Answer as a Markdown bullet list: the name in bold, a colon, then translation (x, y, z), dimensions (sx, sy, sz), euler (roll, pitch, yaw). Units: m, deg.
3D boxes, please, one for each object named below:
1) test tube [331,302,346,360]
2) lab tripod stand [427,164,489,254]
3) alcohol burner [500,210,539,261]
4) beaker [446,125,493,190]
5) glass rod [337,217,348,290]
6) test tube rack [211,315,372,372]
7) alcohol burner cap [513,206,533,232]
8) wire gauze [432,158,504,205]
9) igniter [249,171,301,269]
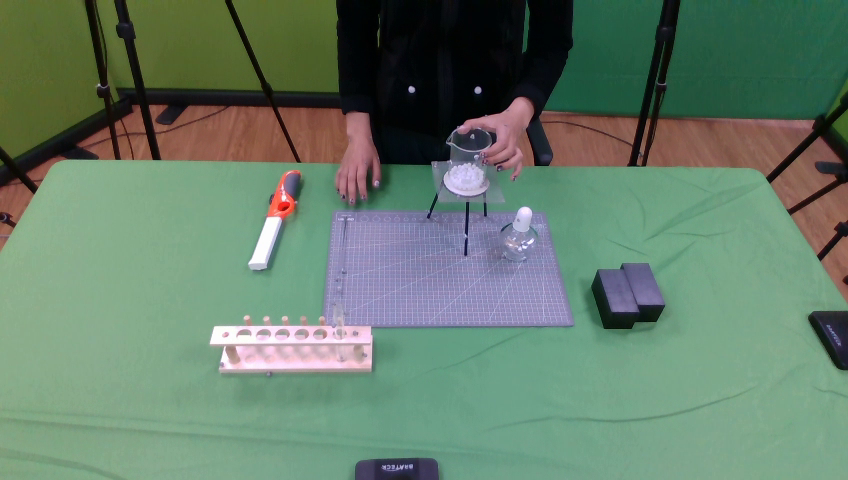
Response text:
- **test tube**: translation (-0.132, 0.144, 0.938), dimensions (0.017, 0.151, 0.017), euler (2, 49, -3)
- **lab tripod stand**: translation (0.078, -0.068, 1.188), dimensions (0.148, 0.132, 0.147), euler (3, 47, -3)
- **alcohol burner**: translation (0.185, -0.016, 1.159), dimensions (0.078, 0.120, 0.077), euler (2, 48, -2)
- **beaker**: translation (0.079, -0.148, 1.105), dimensions (0.084, 0.101, 0.073), euler (-4, 47, -6)
- **glass rod**: translation (-0.158, 0.022, 1.171), dimensions (0.008, 0.008, 0.198), euler (1, 43, -2)
- **test tube rack**: translation (-0.208, 0.163, 0.982), dimensions (0.242, 0.085, 0.066), euler (1, 46, -4)
- **alcohol burner cap**: translation (0.187, -0.042, 1.134), dimensions (0.034, 0.048, 0.033), euler (6, 41, -5)
- **wire gauze**: translation (0.081, -0.111, 1.138), dimensions (0.125, 0.011, 0.120), euler (0, 49, -7)
- **igniter**: translation (-0.297, -0.049, 1.220), dimensions (0.057, 0.025, 0.275), euler (-1, 45, 9)
